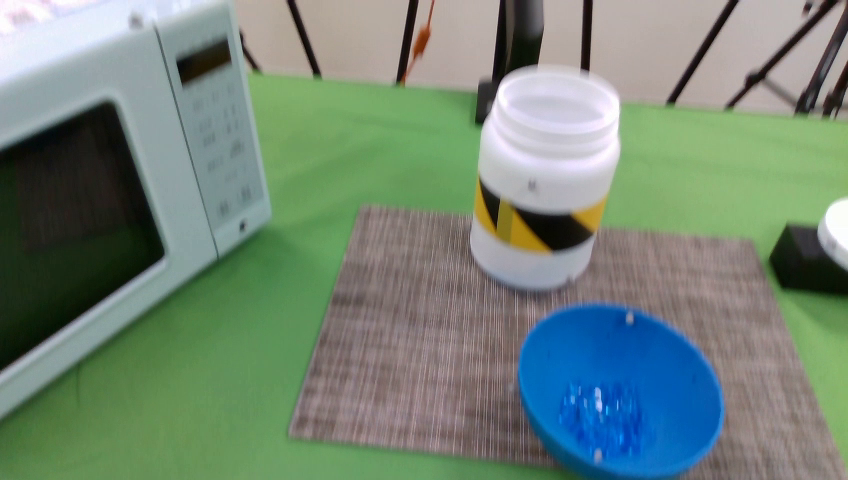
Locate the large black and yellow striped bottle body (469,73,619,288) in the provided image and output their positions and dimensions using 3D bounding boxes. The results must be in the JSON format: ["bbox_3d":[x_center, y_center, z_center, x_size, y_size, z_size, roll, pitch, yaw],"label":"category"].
[{"bbox_3d":[0.116,-0.057,0.602,0.131,0.185,0.129,2,42,-1],"label":"large black and yellow striped bottle body"}]

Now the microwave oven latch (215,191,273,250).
[{"bbox_3d":[-0.195,-0.024,0.639,0.030,0.030,0.079,27,48,24],"label":"microwave oven latch"}]

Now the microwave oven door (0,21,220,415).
[{"bbox_3d":[-0.317,0.017,0.433,0.039,0.246,0.355,25,47,24],"label":"microwave oven door"}]

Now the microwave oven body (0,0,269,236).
[{"bbox_3d":[-0.414,-0.058,0.520,0.324,0.262,0.440,26,48,23],"label":"microwave oven body"}]

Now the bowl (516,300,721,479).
[{"bbox_3d":[0.143,0.128,0.477,0.151,0.077,0.150,1,42,-1],"label":"bowl"}]

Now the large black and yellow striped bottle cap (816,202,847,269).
[{"bbox_3d":[0.462,0.001,0.611,0.115,0.019,0.114,1,41,0],"label":"large black and yellow striped bottle cap"}]
